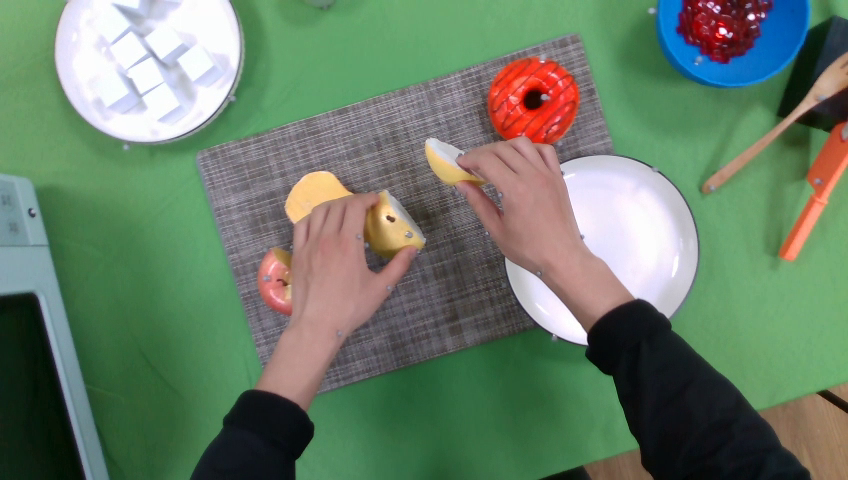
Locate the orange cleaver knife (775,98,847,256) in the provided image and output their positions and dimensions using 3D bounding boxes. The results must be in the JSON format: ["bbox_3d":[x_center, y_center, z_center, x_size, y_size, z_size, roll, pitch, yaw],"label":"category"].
[{"bbox_3d":[0.423,-0.083,0.636,0.012,0.077,0.212,19,117,6],"label":"orange cleaver knife"}]

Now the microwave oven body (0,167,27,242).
[{"bbox_3d":[-0.546,0.171,0.569,0.326,0.260,0.441,-15,91,1],"label":"microwave oven body"}]

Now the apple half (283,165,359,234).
[{"bbox_3d":[-0.116,-0.038,0.666,0.081,0.033,0.081,4,70,-10],"label":"apple half"}]

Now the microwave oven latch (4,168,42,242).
[{"bbox_3d":[-0.444,-0.038,0.659,0.030,0.029,0.079,-13,91,1],"label":"microwave oven latch"}]

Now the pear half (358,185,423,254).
[{"bbox_3d":[-0.041,-0.016,0.630,0.056,0.110,0.076,-43,82,1],"label":"pear half"}]

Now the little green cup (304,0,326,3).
[{"bbox_3d":[-0.123,-0.293,0.666,0.061,0.038,0.061,0,91,2],"label":"little green cup"}]

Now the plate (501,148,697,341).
[{"bbox_3d":[0.187,0.005,0.662,0.209,0.038,0.209,0,91,1],"label":"plate"}]

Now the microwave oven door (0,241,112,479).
[{"bbox_3d":[-0.394,0.176,0.561,0.039,0.244,0.355,-15,90,1],"label":"microwave oven door"}]

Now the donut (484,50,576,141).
[{"bbox_3d":[0.114,-0.156,0.656,0.099,0.048,0.099,0,92,4],"label":"donut"}]

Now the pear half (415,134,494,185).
[{"bbox_3d":[0.028,-0.074,0.598,0.088,0.069,0.031,6,134,-35],"label":"pear half"}]

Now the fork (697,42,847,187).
[{"bbox_3d":[0.372,-0.129,0.634,0.028,0.018,0.207,41,112,-7],"label":"fork"}]

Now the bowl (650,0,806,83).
[{"bbox_3d":[0.305,-0.233,0.638,0.151,0.077,0.151,0,92,1],"label":"bowl"}]

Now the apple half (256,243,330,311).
[{"bbox_3d":[-0.147,0.046,0.652,0.081,0.074,0.053,37,96,-3],"label":"apple half"}]

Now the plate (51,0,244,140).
[{"bbox_3d":[-0.299,-0.213,0.671,0.207,0.039,0.207,0,91,1],"label":"plate"}]
